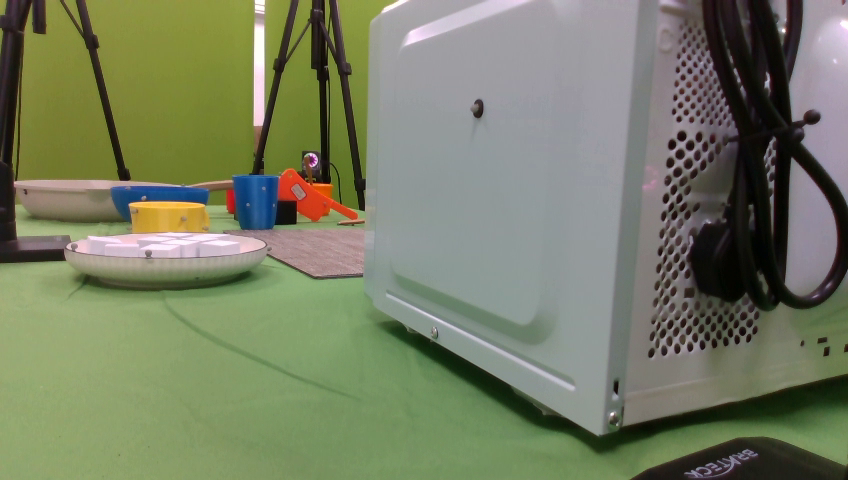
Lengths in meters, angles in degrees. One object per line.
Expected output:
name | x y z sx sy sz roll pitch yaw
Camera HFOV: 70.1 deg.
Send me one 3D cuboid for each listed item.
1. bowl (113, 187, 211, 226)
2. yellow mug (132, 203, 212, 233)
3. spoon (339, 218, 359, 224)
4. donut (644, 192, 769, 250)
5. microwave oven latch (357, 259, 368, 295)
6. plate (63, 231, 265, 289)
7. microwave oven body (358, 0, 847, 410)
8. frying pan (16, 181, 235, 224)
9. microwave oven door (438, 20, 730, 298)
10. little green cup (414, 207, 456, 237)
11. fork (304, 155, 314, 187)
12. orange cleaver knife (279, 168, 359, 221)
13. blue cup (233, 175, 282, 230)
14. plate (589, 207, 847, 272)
bowl | -0.436 -0.046 1.013 0.151 0.077 0.151 2 7 0
yellow mug | -0.356 -0.020 0.878 0.099 0.064 0.131 5 7 22
spoon | -0.087 -0.041 1.268 0.193 0.021 0.041 4 20 13
donut | 0.239 -0.016 0.518 0.099 0.048 0.099 2 5 0
microwave oven latch | -0.019 0.031 0.529 0.079 0.029 0.030 -1 7 -26
plate | -0.288 0.021 0.687 0.208 0.039 0.207 2 8 0
microwave oven body | 0.210 -0.051 0.471 0.444 0.260 0.324 -1 7 -28
frying pan | -0.553 -0.097 1.266 0.490 0.102 0.305 -10 13 -24
microwave oven door | 0.181 -0.076 0.618 0.358 0.243 0.039 -2 8 -28
little green cup | 0.014 -0.025 0.872 0.061 0.038 0.061 5 -4 1
fork | -0.268 -0.134 1.446 0.028 0.018 0.207 2 -36 -1
orange cleaver knife | -0.236 -0.084 1.333 0.212 0.077 0.012 31 -9 -31
blue cup | -0.314 -0.071 1.141 0.093 0.100 0.092 0 7 0
plate | 0.246 -0.003 0.510 0.209 0.038 0.209 3 6 0
